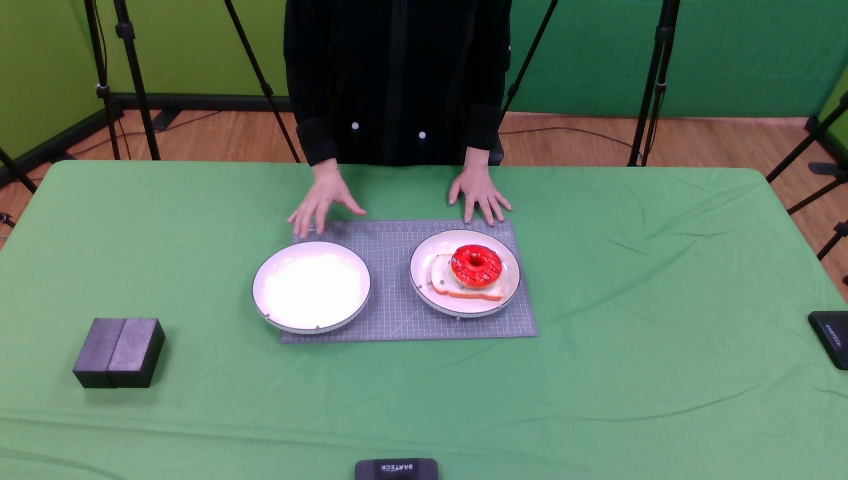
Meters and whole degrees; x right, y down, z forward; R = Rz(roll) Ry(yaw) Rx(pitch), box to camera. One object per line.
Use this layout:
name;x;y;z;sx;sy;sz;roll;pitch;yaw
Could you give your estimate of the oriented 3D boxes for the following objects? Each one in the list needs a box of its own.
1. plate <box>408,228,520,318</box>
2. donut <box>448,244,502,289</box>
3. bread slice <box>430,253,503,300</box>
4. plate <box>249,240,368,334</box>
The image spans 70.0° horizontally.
plate;0.074;0.063;1.128;0.209;0.038;0.208;2;46;-2
donut;0.092;0.048;1.105;0.099;0.048;0.098;3;45;-3
bread slice;0.078;0.067;1.125;0.134;0.018;0.106;0;45;-2
plate;-0.204;0.086;1.084;0.208;0.039;0.206;2;46;-2
